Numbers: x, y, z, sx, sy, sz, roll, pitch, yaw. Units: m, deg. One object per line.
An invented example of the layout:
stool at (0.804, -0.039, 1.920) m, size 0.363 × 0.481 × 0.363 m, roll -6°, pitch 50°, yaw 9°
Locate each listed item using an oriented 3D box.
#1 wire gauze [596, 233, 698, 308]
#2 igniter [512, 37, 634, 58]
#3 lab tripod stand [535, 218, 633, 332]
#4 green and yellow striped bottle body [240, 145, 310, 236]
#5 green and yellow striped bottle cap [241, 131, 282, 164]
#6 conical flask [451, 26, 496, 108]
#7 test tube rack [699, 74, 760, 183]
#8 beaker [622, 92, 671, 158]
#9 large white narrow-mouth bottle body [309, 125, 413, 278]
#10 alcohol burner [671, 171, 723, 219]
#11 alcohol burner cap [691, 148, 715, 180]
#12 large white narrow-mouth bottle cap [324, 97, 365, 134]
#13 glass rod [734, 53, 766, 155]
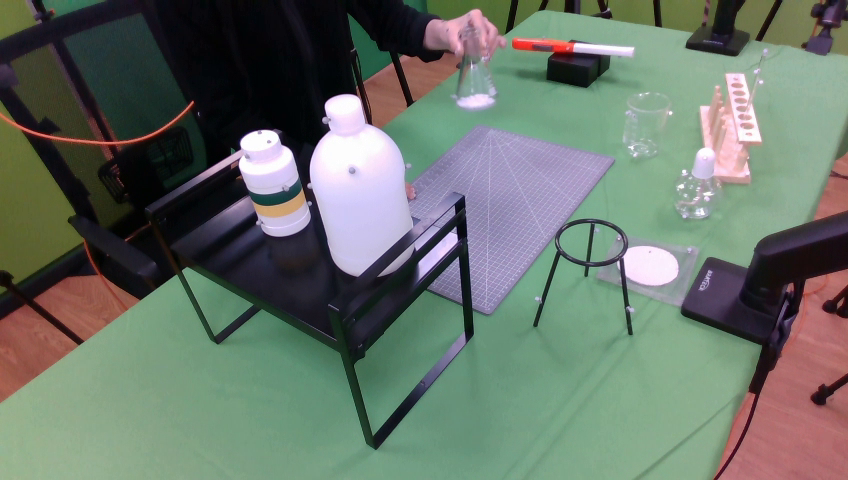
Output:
wire gauze at (0.331, 0.038, 0.897) m, size 0.124 × 0.011 × 0.121 m, roll 18°, pitch 47°, yaw 26°
igniter at (0.328, -0.433, 1.360) m, size 0.275 × 0.025 × 0.057 m, roll 12°, pitch 33°, yaw 20°
lab tripod stand at (0.215, 0.050, 0.803) m, size 0.148 × 0.132 × 0.147 m, roll -4°, pitch 43°, yaw 4°
green and yellow striped bottle body at (-0.181, -0.068, 0.729) m, size 0.063 × 0.120 × 0.063 m, roll -4°, pitch 40°, yaw 4°
green and yellow striped bottle cap at (-0.187, -0.107, 0.695) m, size 0.045 × 0.020 × 0.045 m, roll -3°, pitch 39°, yaw 3°
conical flask at (0.079, -0.282, 0.984) m, size 0.075 × 0.122 × 0.075 m, roll -2°, pitch 28°, yaw 2°
test tube rack at (0.547, -0.208, 1.095) m, size 0.066 × 0.085 × 0.242 m, roll 6°, pitch 42°, yaw 16°
beaker at (0.402, -0.210, 1.106) m, size 0.074 × 0.101 × 0.083 m, roll -9°, pitch 40°, yaw -2°
large white narrow-mouth bottle body at (-0.068, -0.057, 0.645) m, size 0.102 × 0.195 × 0.101 m, roll -3°, pitch 42°, yaw 4°
alcohol burner at (0.434, -0.093, 0.955) m, size 0.078 × 0.119 × 0.077 m, roll -3°, pitch 43°, yaw 4°
alcohol burner cap at (0.432, -0.120, 0.930) m, size 0.034 × 0.048 × 0.033 m, roll -7°, pitch 48°, yaw 8°
large white narrow-mouth bottle cap at (-0.076, -0.121, 0.585) m, size 0.038 × 0.024 × 0.037 m, roll -3°, pitch 42°, yaw 3°
glass rod at (0.540, -0.219, 1.006) m, size 0.008 × 0.201 × 0.008 m, roll -5°, pitch 45°, yaw 6°
